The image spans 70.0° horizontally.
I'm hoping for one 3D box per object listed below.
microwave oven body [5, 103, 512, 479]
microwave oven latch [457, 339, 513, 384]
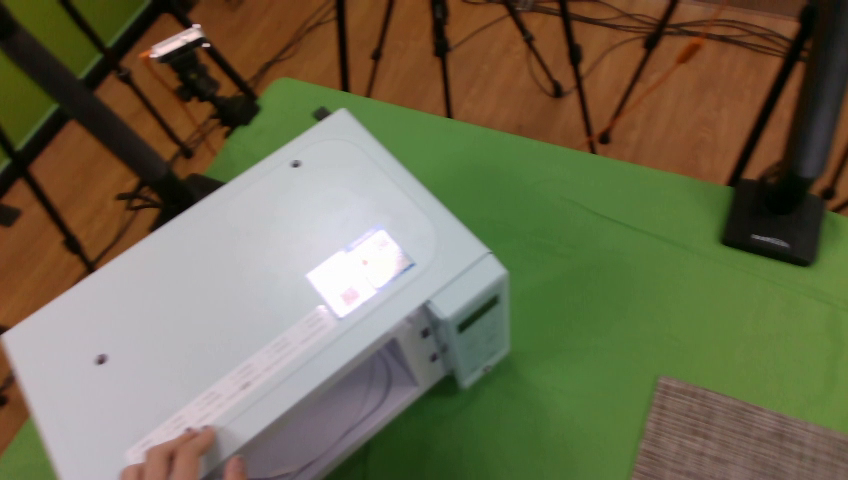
[{"bbox_3d":[-0.165,0.111,0.718,0.441,0.262,0.323,-38,63,-12],"label":"microwave oven body"},{"bbox_3d":[0.078,0.147,0.773,0.079,0.030,0.030,-36,62,-11],"label":"microwave oven latch"}]
